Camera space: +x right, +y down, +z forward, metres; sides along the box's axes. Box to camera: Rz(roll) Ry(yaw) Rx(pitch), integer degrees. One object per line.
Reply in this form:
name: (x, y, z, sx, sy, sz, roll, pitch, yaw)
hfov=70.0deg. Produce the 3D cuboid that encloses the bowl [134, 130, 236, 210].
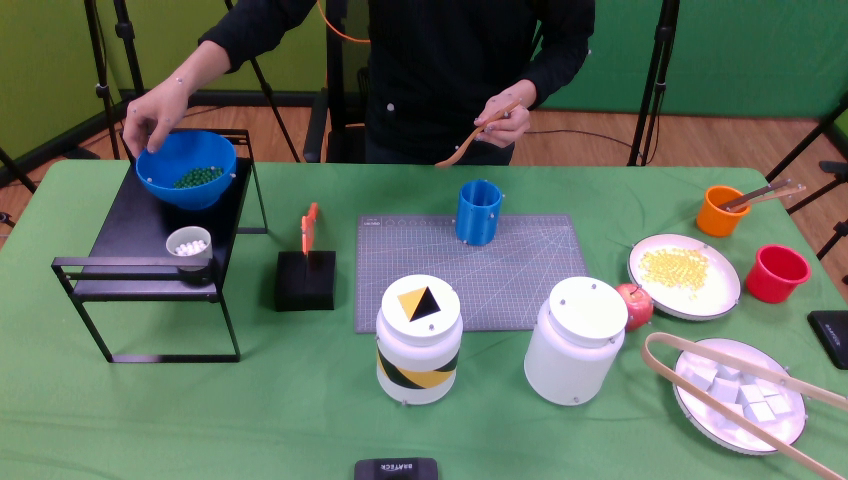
bowl: (-0.375, -0.102, 0.977, 0.151, 0.077, 0.150, 2, 47, -2)

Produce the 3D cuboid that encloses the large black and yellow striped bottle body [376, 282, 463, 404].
large black and yellow striped bottle body: (-0.010, 0.155, 0.937, 0.131, 0.185, 0.130, 2, 47, -2)

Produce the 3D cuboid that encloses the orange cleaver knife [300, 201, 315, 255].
orange cleaver knife: (-0.222, -0.027, 1.161, 0.012, 0.077, 0.210, -2, 15, -4)

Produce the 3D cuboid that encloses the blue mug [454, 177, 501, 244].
blue mug: (0.106, -0.067, 1.208, 0.082, 0.106, 0.116, 6, 46, 1)

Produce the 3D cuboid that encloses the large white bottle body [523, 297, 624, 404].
large white bottle body: (0.235, 0.159, 0.952, 0.131, 0.185, 0.130, 2, 47, -2)

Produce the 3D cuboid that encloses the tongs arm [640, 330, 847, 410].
tongs arm: (0.543, 0.225, 0.969, 0.384, 0.026, 0.050, 22, 53, 13)

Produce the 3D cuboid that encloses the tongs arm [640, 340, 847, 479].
tongs arm: (0.500, 0.277, 0.920, 0.386, 0.028, 0.028, 34, 59, 22)

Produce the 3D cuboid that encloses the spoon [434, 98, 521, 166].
spoon: (0.086, -0.178, 1.012, 0.021, 0.194, 0.041, 54, 36, 5)

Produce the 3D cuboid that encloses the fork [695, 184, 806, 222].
fork: (0.658, -0.074, 1.230, 0.207, 0.019, 0.028, -24, 33, 36)

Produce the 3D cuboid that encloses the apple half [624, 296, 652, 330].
apple half: (0.368, 0.135, 1.060, 0.081, 0.081, 0.032, -11, 43, -15)

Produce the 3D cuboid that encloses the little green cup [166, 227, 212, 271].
little green cup: (-0.344, 0.014, 0.895, 0.061, 0.039, 0.061, 3, 46, -3)

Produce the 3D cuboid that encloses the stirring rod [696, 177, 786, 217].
stirring rod: (0.648, -0.087, 1.244, 0.176, 0.006, 0.014, -25, 50, 29)

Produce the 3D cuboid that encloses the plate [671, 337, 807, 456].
plate: (0.504, 0.254, 0.984, 0.208, 0.039, 0.206, 2, 46, -2)

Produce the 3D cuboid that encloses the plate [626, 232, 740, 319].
plate: (0.489, 0.070, 1.157, 0.209, 0.038, 0.208, 3, 46, -3)

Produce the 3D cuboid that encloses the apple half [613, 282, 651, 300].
apple half: (0.356, 0.109, 1.086, 0.081, 0.075, 0.053, -14, 44, -12)

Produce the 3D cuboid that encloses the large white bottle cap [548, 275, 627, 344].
large white bottle cap: (0.240, 0.100, 0.890, 0.115, 0.018, 0.114, 3, 47, -3)

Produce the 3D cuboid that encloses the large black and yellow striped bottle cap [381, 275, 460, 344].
large black and yellow striped bottle cap: (-0.005, 0.098, 0.875, 0.115, 0.019, 0.114, 2, 45, -2)
